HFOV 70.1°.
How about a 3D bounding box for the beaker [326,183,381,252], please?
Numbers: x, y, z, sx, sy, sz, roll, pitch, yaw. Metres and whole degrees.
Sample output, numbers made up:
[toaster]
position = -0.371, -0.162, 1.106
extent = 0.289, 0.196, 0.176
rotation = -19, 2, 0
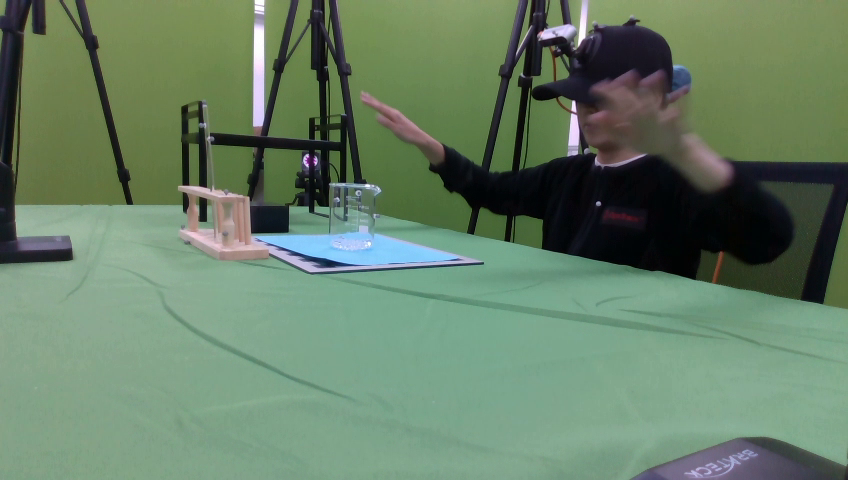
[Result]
[beaker]
position = -0.108, -0.035, 0.921
extent = 0.084, 0.100, 0.074
rotation = 5, 8, 15

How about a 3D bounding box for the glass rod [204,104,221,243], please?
[glass rod]
position = -0.298, -0.091, 0.851
extent = 0.008, 0.199, 0.008
rotation = -5, 1, 0

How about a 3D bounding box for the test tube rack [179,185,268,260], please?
[test tube rack]
position = -0.303, -0.031, 0.898
extent = 0.067, 0.085, 0.241
rotation = -2, 9, -33
